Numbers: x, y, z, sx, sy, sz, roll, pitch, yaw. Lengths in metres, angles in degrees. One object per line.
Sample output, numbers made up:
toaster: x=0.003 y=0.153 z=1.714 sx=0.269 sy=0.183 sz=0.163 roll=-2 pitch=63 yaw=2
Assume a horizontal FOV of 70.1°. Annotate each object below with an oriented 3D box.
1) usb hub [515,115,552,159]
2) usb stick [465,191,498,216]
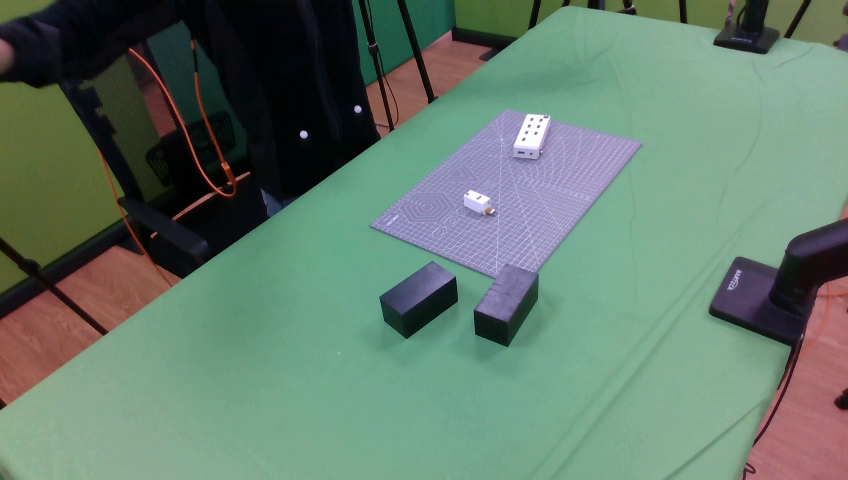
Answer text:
usb hub: x=0.213 y=-0.201 z=1.173 sx=0.049 sy=0.025 sz=0.125 roll=9 pitch=43 yaw=18
usb stick: x=0.099 y=-0.061 z=1.026 sx=0.058 sy=0.027 sz=0.021 roll=30 pitch=51 yaw=33
